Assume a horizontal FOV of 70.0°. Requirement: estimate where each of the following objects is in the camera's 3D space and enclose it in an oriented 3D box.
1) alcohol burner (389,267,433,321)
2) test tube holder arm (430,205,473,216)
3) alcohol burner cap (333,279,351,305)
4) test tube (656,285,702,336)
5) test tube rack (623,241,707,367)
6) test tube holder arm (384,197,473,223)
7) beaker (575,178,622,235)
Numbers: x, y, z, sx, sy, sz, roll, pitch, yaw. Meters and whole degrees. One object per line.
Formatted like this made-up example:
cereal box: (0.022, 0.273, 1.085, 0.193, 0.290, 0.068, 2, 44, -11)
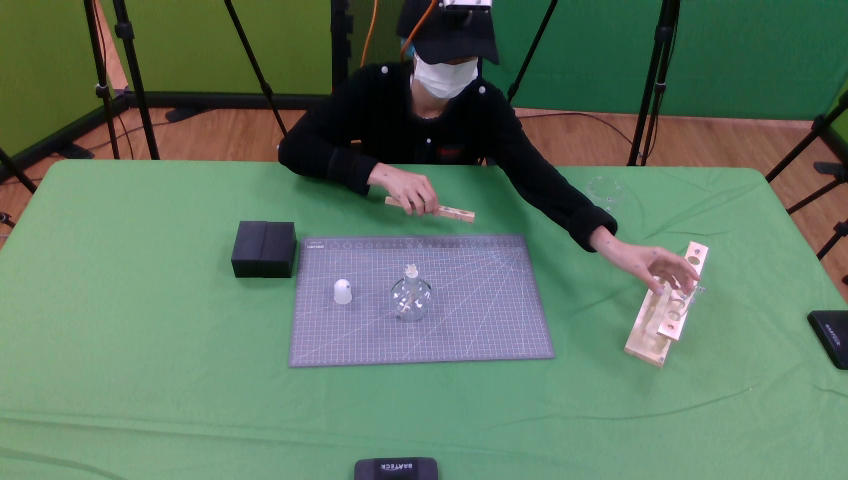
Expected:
alcohol burner: (-0.022, 0.086, 1.046, 0.078, 0.119, 0.077, 2, 48, -2)
test tube holder arm: (0.054, -0.054, 1.193, 0.088, 0.015, 0.010, 12, 31, 2)
alcohol burner cap: (-0.148, 0.090, 1.083, 0.034, 0.048, 0.033, 3, 47, -2)
test tube: (0.418, 0.121, 1.000, 0.017, 0.151, 0.017, 4, 51, -4)
test tube rack: (0.435, 0.104, 1.089, 0.066, 0.085, 0.242, 24, 49, 19)
test tube holder arm: (0.009, -0.060, 1.190, 0.178, 0.015, 0.013, 11, 31, 2)
beaker: (0.356, -0.068, 1.239, 0.084, 0.101, 0.073, -19, 50, -21)
